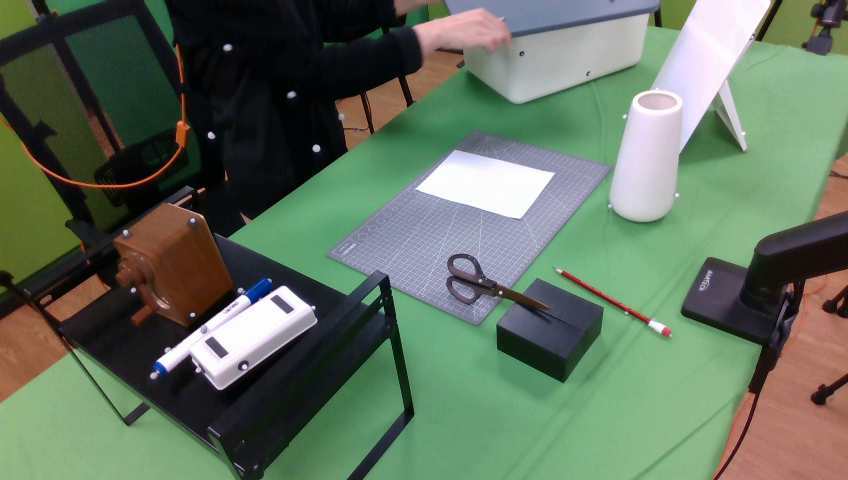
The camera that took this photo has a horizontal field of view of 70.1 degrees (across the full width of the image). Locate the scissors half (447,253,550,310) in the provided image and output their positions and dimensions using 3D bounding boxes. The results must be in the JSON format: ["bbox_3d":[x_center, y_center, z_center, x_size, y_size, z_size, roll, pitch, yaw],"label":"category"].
[{"bbox_3d":[0.098,0.058,0.821,0.173,0.040,0.013,27,33,37],"label":"scissors half"}]

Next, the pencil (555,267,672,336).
[{"bbox_3d":[0.260,0.082,0.850,0.012,0.012,0.192,-33,46,-27],"label":"pencil"}]

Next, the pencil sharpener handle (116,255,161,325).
[{"bbox_3d":[-0.286,0.050,0.594,0.035,0.068,0.031,7,41,36],"label":"pencil sharpener handle"}]

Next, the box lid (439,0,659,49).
[{"bbox_3d":[0.221,-0.454,1.133,0.372,0.015,0.261,-11,47,-2],"label":"box lid"}]

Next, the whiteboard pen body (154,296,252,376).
[{"bbox_3d":[-0.214,0.088,0.619,0.017,0.017,0.141,19,42,28],"label":"whiteboard pen body"}]

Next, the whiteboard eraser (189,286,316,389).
[{"bbox_3d":[-0.166,0.096,0.593,0.113,0.042,0.055,-36,47,-29],"label":"whiteboard eraser"}]

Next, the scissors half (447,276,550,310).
[{"bbox_3d":[0.098,0.077,0.827,0.174,0.040,0.013,6,14,44],"label":"scissors half"}]

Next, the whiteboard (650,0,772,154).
[{"bbox_3d":[0.543,-0.298,1.076,0.144,0.305,0.216,12,40,-7],"label":"whiteboard"}]

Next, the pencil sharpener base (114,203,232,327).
[{"bbox_3d":[-0.262,0.029,0.636,0.061,0.107,0.077,18,47,26],"label":"pencil sharpener base"}]

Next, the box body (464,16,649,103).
[{"bbox_3d":[0.291,-0.465,1.371,0.365,0.161,0.252,-22,42,-16],"label":"box body"}]

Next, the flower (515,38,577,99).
[{"bbox_3d":[0.298,-0.413,1.411,0.044,0.038,0.362,-14,25,41],"label":"flower"}]

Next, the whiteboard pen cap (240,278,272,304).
[{"bbox_3d":[-0.183,0.057,0.658,0.018,0.018,0.033,19,44,28],"label":"whiteboard pen cap"}]

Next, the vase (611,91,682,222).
[{"bbox_3d":[0.348,-0.125,0.935,0.098,0.201,0.097,-3,40,3],"label":"vase"}]
